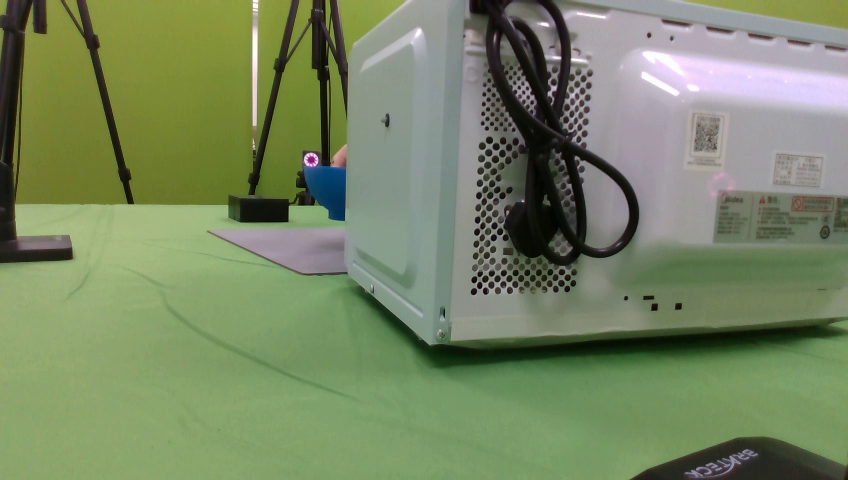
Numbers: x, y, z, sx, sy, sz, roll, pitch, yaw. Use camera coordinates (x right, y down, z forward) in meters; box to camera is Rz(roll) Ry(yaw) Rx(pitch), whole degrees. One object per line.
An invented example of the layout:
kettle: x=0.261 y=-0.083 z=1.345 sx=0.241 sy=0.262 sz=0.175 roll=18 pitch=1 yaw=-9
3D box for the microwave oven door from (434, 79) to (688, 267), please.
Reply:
microwave oven door: x=0.179 y=-0.102 z=0.868 sx=0.354 sy=0.243 sz=0.039 roll=7 pitch=9 yaw=31

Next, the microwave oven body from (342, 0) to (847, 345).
microwave oven body: x=0.169 y=-0.060 z=0.573 sx=0.444 sy=0.260 sz=0.324 roll=1 pitch=7 yaw=-20

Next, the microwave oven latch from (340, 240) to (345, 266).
microwave oven latch: x=-0.052 y=0.016 z=0.662 sx=0.079 sy=0.029 sz=0.030 roll=1 pitch=7 yaw=-19

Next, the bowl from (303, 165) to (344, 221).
bowl: x=-0.104 y=-0.068 z=0.897 sx=0.151 sy=0.077 sz=0.151 roll=3 pitch=7 yaw=0
